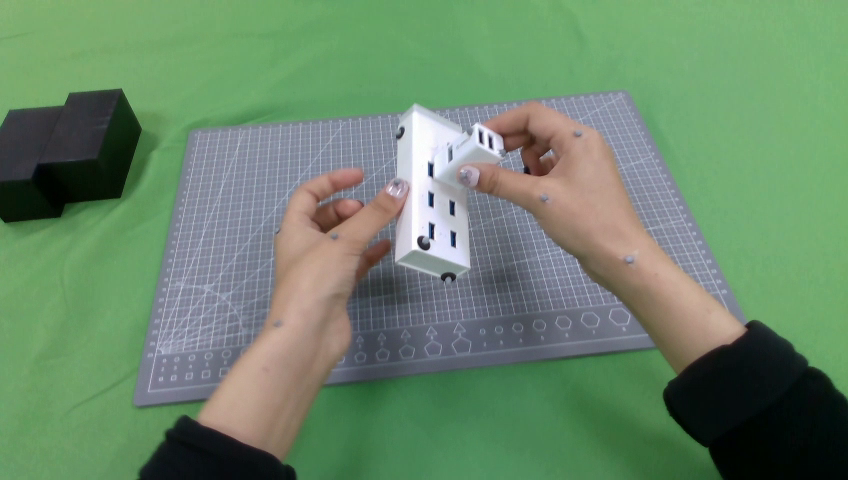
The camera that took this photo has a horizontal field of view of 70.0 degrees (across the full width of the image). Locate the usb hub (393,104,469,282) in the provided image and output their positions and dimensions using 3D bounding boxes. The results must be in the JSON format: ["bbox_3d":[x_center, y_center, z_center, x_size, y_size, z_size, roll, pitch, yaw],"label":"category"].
[{"bbox_3d":[0.005,-0.035,0.429,0.050,0.025,0.124,20,54,-31],"label":"usb hub"}]

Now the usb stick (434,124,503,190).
[{"bbox_3d":[0.025,-0.052,0.414,0.027,0.059,0.021,18,55,-29],"label":"usb stick"}]
